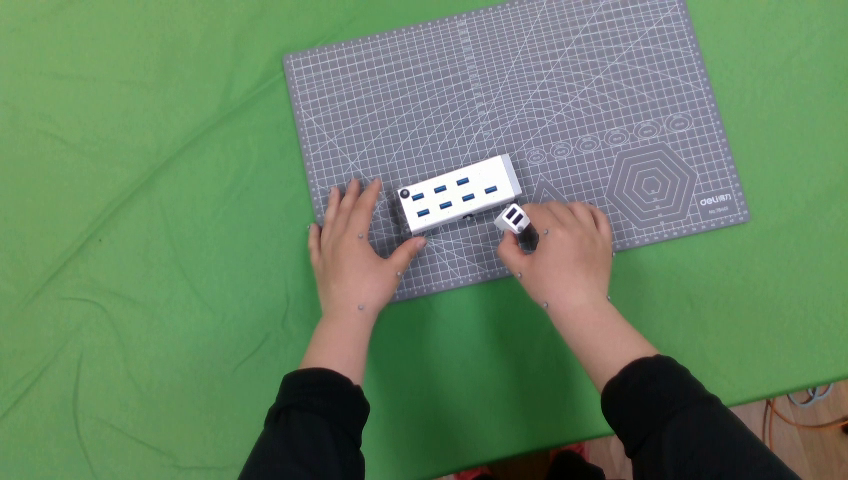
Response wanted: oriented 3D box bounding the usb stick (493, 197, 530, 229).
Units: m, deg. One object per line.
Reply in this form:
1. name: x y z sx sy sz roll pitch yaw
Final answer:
1. usb stick: 0.088 -0.027 0.620 0.027 0.059 0.021 38 87 1

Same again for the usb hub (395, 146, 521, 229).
1. usb hub: 0.036 -0.056 0.643 0.125 0.025 0.049 -19 82 1
